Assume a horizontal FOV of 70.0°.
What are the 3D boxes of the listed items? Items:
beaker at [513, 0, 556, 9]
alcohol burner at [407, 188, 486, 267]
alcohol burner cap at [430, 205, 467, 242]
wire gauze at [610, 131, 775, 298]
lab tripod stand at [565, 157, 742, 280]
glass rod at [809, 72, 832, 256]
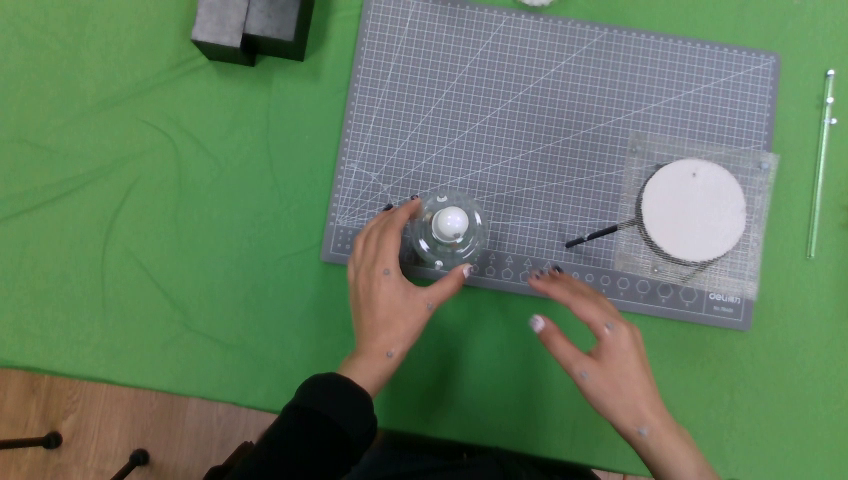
[{"bbox_3d":[0.120,-0.285,0.609,0.074,0.100,0.084,-45,87,-3],"label":"beaker"},{"bbox_3d":[0.022,-0.013,0.576,0.078,0.119,0.078,0,87,0],"label":"alcohol burner"},{"bbox_3d":[0.023,-0.016,0.540,0.034,0.048,0.034,0,87,-6],"label":"alcohol burner cap"},{"bbox_3d":[0.222,-0.023,0.501,0.125,0.011,0.121,11,86,2],"label":"wire gauze"},{"bbox_3d":[0.217,-0.016,0.568,0.148,0.131,0.148,0,87,1],"label":"lab tripod stand"},{"bbox_3d":[0.419,-0.081,0.639,0.008,0.008,0.199,8,85,0],"label":"glass rod"}]
